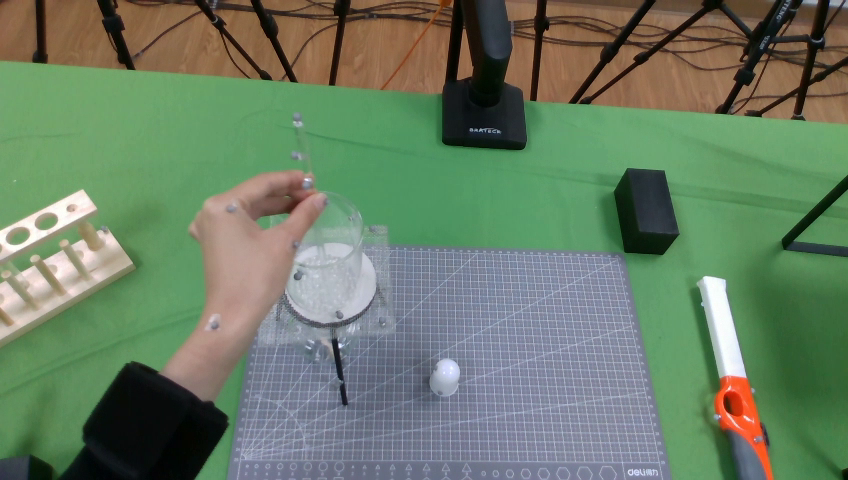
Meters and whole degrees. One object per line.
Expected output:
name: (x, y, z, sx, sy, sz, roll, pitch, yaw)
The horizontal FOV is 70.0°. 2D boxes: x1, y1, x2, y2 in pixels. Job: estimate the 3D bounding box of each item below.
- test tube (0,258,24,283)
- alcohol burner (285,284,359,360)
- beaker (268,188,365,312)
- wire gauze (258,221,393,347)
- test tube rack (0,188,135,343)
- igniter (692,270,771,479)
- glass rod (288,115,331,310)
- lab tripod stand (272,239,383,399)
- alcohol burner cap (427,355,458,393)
test tube: (-0.440, 0.001, 0.607, 0.017, 0.151, 0.017, 3, 53, -4)
alcohol burner: (-0.106, 0.079, 0.631, 0.078, 0.120, 0.077, 4, 57, -5)
beaker: (-0.093, 0.012, 0.527, 0.084, 0.101, 0.073, 24, 59, 9)
wire gauze: (-0.093, 0.036, 0.570, 0.121, 0.011, 0.124, -3, 62, -6)
test tube rack: (-0.446, 0.049, 0.635, 0.242, 0.086, 0.066, -35, 67, -24)
igniter: (0.343, 0.159, 0.680, 0.057, 0.025, 0.274, 10, 58, -11)
glass rod: (-0.089, -0.010, 0.479, 0.008, 0.201, 0.008, 0, 43, 1)
lab tripod stand: (-0.095, 0.074, 0.623, 0.148, 0.132, 0.147, 4, 59, -5)
alcohol burner cap: (0.021, 0.141, 0.648, 0.034, 0.048, 0.033, 2, 58, -3)
